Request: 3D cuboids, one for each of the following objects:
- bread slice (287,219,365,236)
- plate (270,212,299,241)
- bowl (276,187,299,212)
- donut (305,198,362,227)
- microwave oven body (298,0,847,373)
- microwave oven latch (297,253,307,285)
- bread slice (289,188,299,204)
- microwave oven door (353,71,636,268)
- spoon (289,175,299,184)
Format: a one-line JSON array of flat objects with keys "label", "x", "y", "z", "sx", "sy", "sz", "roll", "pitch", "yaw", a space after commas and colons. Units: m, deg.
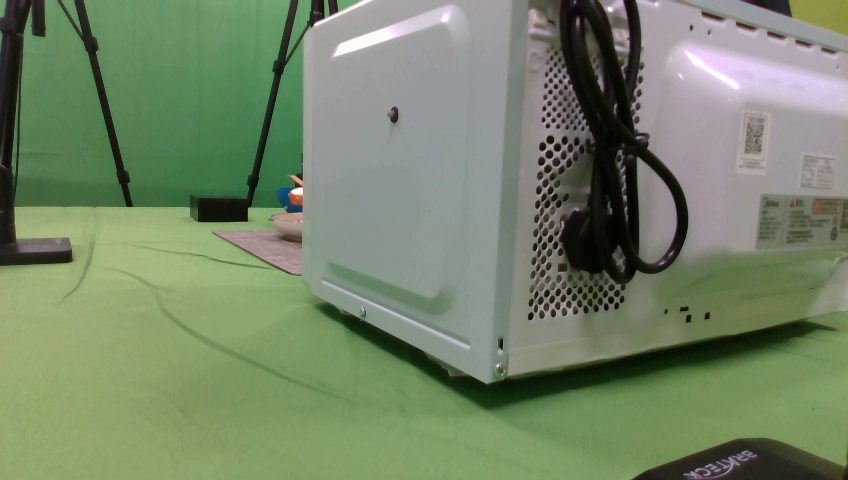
[{"label": "bread slice", "x": -0.170, "y": -0.022, "z": 1.057, "sx": 0.134, "sy": 0.018, "sz": 0.107, "roll": 1, "pitch": 7, "yaw": -6}, {"label": "plate", "x": -0.162, "y": -0.022, "z": 1.058, "sx": 0.208, "sy": 0.039, "sz": 0.207, "roll": 2, "pitch": 7, "yaw": 0}, {"label": "bowl", "x": -0.241, "y": -0.073, "z": 1.302, "sx": 0.151, "sy": 0.077, "sz": 0.151, "roll": 2, "pitch": 7, "yaw": 0}, {"label": "donut", "x": -0.158, "y": -0.049, "z": 1.055, "sx": 0.099, "sy": 0.048, "sz": 0.099, "roll": 3, "pitch": 7, "yaw": 0}, {"label": "microwave oven body", "x": 0.151, "y": -0.055, "z": 0.543, "sx": 0.444, "sy": 0.260, "sz": 0.324, "roll": -1, "pitch": 7, "yaw": -33}, {"label": "microwave oven latch", "x": -0.082, "y": 0.027, "z": 0.582, "sx": 0.079, "sy": 0.029, "sz": 0.030, "roll": -1, "pitch": 7, "yaw": -32}, {"label": "bread slice", "x": -0.167, "y": -0.079, "z": 1.052, "sx": 0.131, "sy": 0.019, "sz": 0.105, "roll": 0, "pitch": 13, "yaw": 0}, {"label": "microwave oven door", "x": 0.086, "y": -0.094, "z": 0.796, "sx": 0.356, "sy": 0.243, "sz": 0.039, "roll": 3, "pitch": 8, "yaw": 6}, {"label": "spoon", "x": -0.260, "y": -0.110, "z": 1.343, "sx": 0.042, "sy": 0.021, "sz": 0.192, "roll": -8, "pitch": 33, "yaw": -30}]
